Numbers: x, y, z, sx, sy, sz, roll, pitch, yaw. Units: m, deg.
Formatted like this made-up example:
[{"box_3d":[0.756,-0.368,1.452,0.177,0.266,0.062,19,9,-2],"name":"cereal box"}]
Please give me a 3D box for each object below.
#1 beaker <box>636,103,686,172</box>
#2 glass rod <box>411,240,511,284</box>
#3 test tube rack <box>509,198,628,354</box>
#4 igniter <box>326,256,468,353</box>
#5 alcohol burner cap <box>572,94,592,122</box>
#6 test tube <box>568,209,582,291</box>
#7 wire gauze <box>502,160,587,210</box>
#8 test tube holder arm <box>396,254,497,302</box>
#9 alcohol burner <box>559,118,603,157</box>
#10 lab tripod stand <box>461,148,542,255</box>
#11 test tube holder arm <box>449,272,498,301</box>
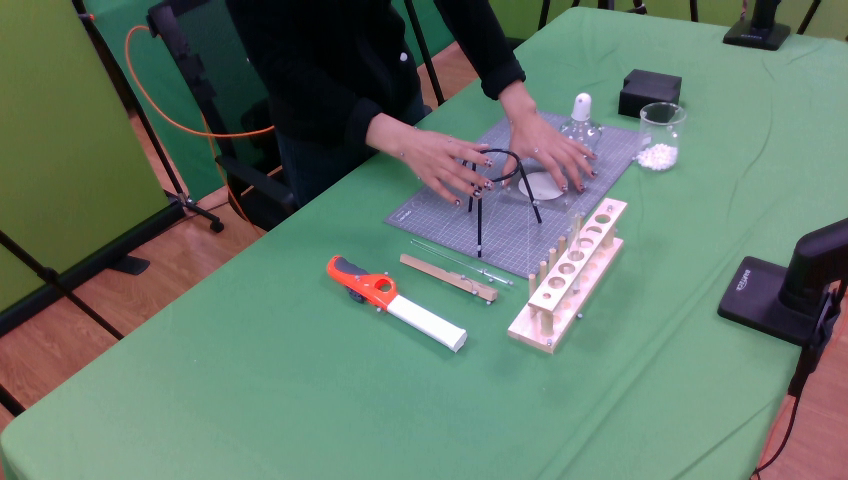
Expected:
[{"box_3d":[0.413,-0.177,1.055,0.084,0.101,0.073,-28,44,-21],"name":"beaker"},{"box_3d":[0.053,0.033,0.946,0.198,0.008,0.008,22,50,36],"name":"glass rod"},{"box_3d":[0.206,0.039,0.850,0.066,0.085,0.243,20,48,31],"name":"test tube rack"},{"box_3d":[-0.051,0.088,0.886,0.274,0.025,0.057,26,61,35],"name":"igniter"},{"box_3d":[0.284,-0.238,1.079,0.034,0.048,0.033,-1,48,2],"name":"alcohol burner cap"},{"box_3d":[0.200,0.017,0.799,0.017,0.151,0.017,-8,45,8],"name":"test tube"},{"box_3d":[0.212,-0.102,1.065,0.124,0.011,0.121,13,45,24],"name":"wire gauze"},{"box_3d":[0.030,0.054,0.912,0.177,0.015,0.013,21,11,29],"name":"test tube holder arm"},{"box_3d":[0.287,-0.212,1.104,0.078,0.119,0.077,-4,41,4],"name":"alcohol burner"},{"box_3d":[0.114,-0.069,0.953,0.148,0.132,0.147,-5,38,4],"name":"lab tripod stand"},{"box_3d":[0.070,0.068,0.894,0.087,0.015,0.010,22,11,31],"name":"test tube holder arm"}]
